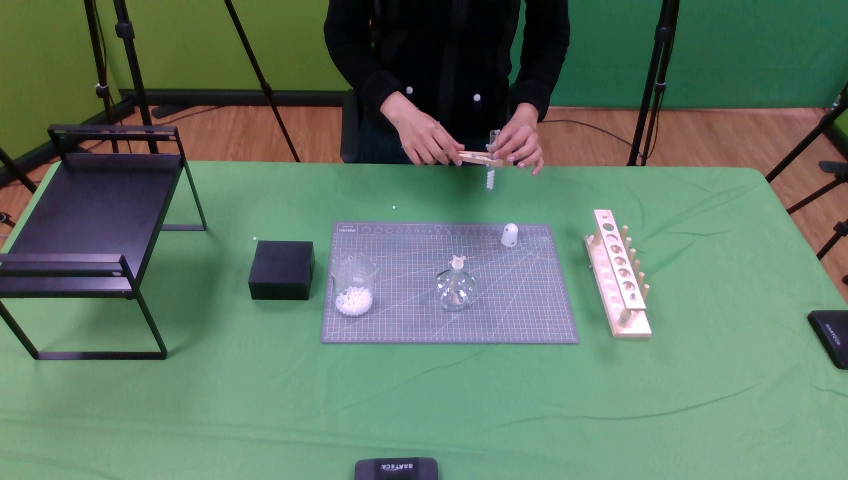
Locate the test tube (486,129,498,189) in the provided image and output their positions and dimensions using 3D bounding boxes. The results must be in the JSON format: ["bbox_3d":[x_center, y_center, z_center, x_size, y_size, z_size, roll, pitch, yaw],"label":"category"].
[{"bbox_3d":[0.127,-0.148,1.139,0.017,0.151,0.017,-1,53,1],"label":"test tube"}]

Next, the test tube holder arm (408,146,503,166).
[{"bbox_3d":[0.059,-0.158,1.135,0.178,0.015,0.013,7,48,3],"label":"test tube holder arm"}]

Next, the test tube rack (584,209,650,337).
[{"bbox_3d":[0.365,0.056,1.129,0.067,0.085,0.240,1,46,-4],"label":"test tube rack"}]

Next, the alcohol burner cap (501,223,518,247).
[{"bbox_3d":[0.172,-0.013,1.206,0.034,0.048,0.033,1,45,-1],"label":"alcohol burner cap"}]

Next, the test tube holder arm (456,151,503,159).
[{"bbox_3d":[0.104,-0.158,1.138,0.088,0.015,0.010,-1,49,-4],"label":"test tube holder arm"}]

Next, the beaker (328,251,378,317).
[{"bbox_3d":[-0.123,0.079,1.055,0.084,0.101,0.073,0,47,-5],"label":"beaker"}]

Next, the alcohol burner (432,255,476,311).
[{"bbox_3d":[0.055,0.070,1.068,0.078,0.119,0.077,3,45,-3],"label":"alcohol burner"}]
